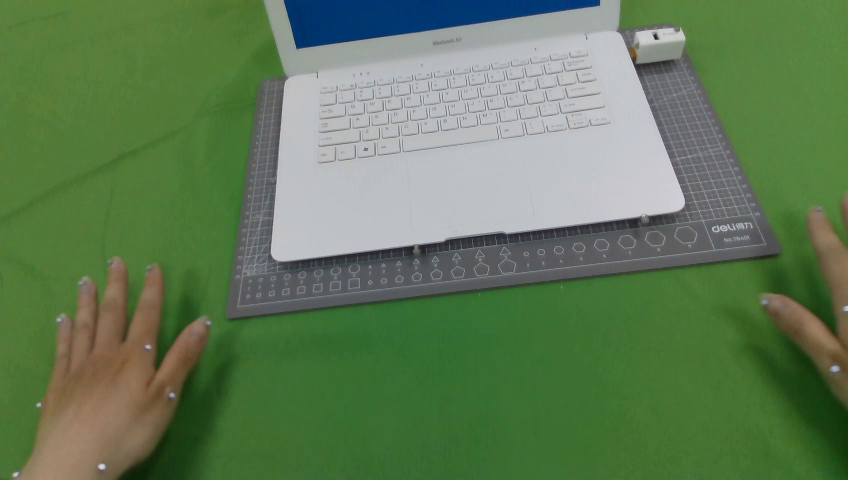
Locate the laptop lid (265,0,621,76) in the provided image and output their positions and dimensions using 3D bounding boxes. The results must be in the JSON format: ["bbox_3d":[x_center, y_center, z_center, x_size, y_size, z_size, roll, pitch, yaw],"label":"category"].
[{"bbox_3d":[0.013,-0.285,0.570,0.356,0.244,0.013,-8,37,4],"label":"laptop lid"}]

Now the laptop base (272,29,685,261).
[{"bbox_3d":[0.036,-0.096,0.576,0.354,0.023,0.233,-7,58,3],"label":"laptop base"}]

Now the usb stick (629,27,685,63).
[{"bbox_3d":[0.224,-0.192,0.600,0.059,0.027,0.021,-7,56,6],"label":"usb stick"}]
